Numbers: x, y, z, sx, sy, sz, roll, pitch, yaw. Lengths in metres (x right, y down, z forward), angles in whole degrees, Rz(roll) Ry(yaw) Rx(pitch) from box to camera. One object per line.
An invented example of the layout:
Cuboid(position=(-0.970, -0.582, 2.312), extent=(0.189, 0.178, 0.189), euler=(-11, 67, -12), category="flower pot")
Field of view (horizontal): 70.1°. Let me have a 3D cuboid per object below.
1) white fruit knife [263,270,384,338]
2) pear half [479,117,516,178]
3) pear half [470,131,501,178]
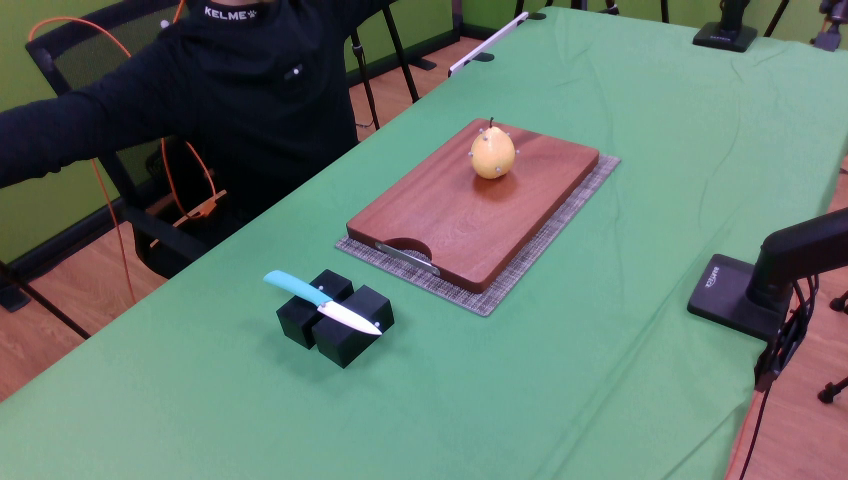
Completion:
Cuboid(position=(-0.137, 0.086, 0.821), extent=(0.206, 0.016, 0.027), euler=(24, 61, 26), category="white fruit knife")
Cuboid(position=(0.126, -0.166, 1.031), extent=(0.056, 0.110, 0.075), euler=(-34, 51, -29), category="pear half")
Cuboid(position=(0.099, -0.141, 1.022), extent=(0.031, 0.088, 0.070), euler=(-34, 54, -30), category="pear half")
